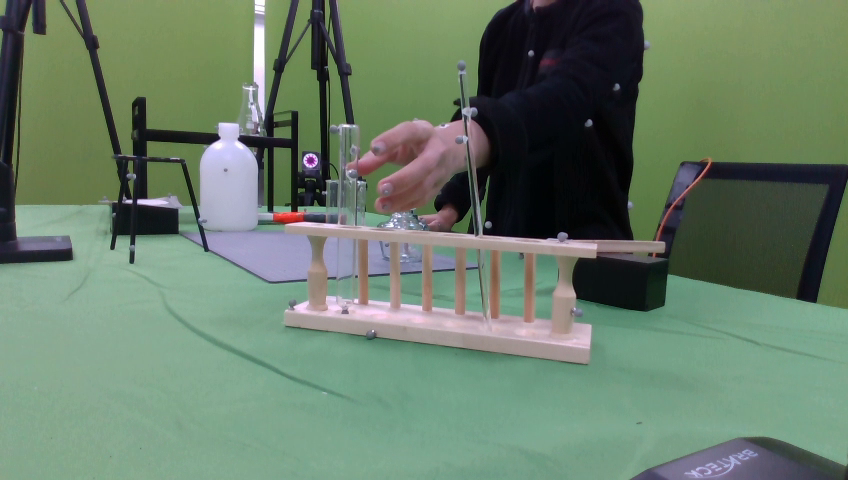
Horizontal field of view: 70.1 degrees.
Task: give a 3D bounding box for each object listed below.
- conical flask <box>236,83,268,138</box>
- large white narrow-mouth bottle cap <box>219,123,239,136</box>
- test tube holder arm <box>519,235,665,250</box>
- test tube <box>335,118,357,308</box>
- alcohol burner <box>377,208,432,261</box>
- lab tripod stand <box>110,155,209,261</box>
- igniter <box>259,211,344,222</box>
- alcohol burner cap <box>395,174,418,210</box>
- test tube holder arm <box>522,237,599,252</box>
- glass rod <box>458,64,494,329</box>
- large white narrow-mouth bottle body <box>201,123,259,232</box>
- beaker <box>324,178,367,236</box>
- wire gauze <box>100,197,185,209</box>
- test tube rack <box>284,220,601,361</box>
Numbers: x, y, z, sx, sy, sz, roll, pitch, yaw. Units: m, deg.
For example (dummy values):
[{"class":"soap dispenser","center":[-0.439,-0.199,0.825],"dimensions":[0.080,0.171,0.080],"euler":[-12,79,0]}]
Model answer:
[{"class":"conical flask","center":[-0.399,-0.298,1.396],"dimensions":[0.075,0.122,0.075],"euler":[2,8,0]},{"class":"large white narrow-mouth bottle cap","center":[-0.356,-0.201,1.105],"dimensions":[0.038,0.024,0.037],"euler":[2,8,0]},{"class":"test tube holder arm","center":[0.185,0.003,0.656],"dimensions":[0.179,0.015,0.013],"euler":[-1,17,-20]},{"class":"test tube","center":[-0.061,-0.019,0.476],"dimensions":[0.017,0.150,0.017],"euler":[2,10,0]},{"class":"alcohol burner","center":[-0.027,-0.031,0.838],"dimensions":[0.078,0.119,0.078],"euler":[0,6,0]},{"class":"lab tripod stand","center":[-0.361,-0.046,0.806],"dimensions":[0.148,0.131,0.148],"euler":[2,5,0]},{"class":"igniter","center":[-0.302,-0.047,1.249],"dimensions":[0.278,0.025,0.057],"euler":[-2,-2,-27]},{"class":"alcohol burner cap","center":[-0.026,-0.067,0.833],"dimensions":[0.034,0.048,0.034],"euler":[-2,12,1]},{"class":"test tube holder arm","center":[0.144,0.005,0.636],"dimensions":[0.088,0.015,0.010],"euler":[-1,17,-19]},{"class":"glass rod","center":[0.039,-0.029,0.449],"dimensions":[0.008,0.199,0.008],"euler":[-7,9,1]},{"class":"large white narrow-mouth bottle body","center":[-0.358,-0.116,1.116],"dimensions":[0.102,0.194,0.102],"euler":[2,8,0]},{"class":"beaker","center":[-0.139,-0.060,1.083],"dimensions":[0.074,0.100,0.083],"euler":[-3,10,-31]},{"class":"wire gauze","center":[-0.469,-0.062,1.008],"dimensions":[0.126,0.011,0.121],"euler":[-2,8,-25]},{"class":"test tube rack","center":[0.013,0.032,0.482],"dimensions":[0.242,0.085,0.067],"euler":[4,7,16]}]
